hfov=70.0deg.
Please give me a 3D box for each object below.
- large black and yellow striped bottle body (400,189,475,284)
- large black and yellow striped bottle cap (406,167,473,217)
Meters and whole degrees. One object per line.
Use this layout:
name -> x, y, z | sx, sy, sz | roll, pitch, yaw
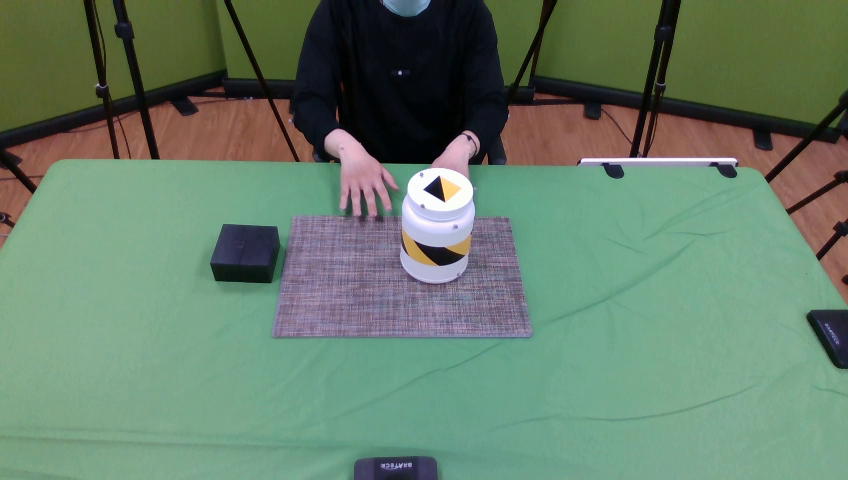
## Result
large black and yellow striped bottle body -> 0.024, -0.024, 1.102 | 0.131, 0.185, 0.130 | 2, 46, -2
large black and yellow striped bottle cap -> 0.027, -0.084, 1.043 | 0.115, 0.019, 0.114 | 3, 46, -3
